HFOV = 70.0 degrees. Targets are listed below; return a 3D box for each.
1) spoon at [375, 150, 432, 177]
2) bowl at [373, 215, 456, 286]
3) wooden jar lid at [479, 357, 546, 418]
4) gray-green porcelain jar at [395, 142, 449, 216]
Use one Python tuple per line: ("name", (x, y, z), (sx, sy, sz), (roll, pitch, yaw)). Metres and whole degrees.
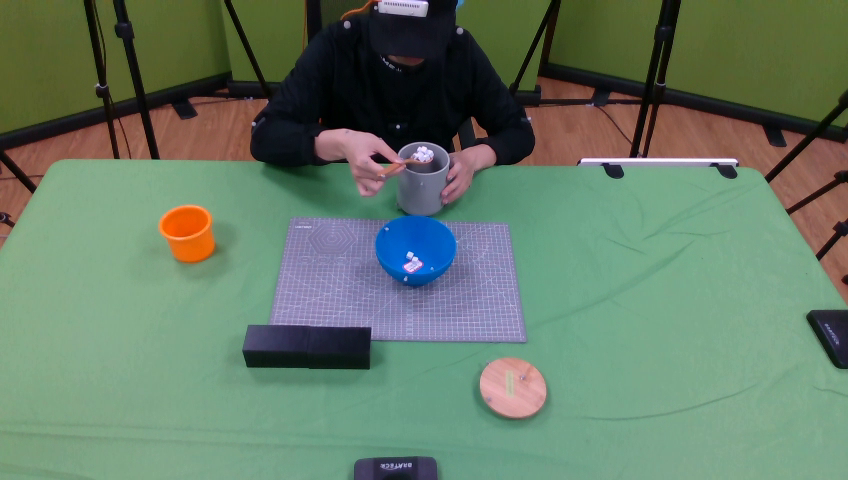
("spoon", (-0.039, -0.144, 1.130), (0.041, 0.022, 0.194), (26, 26, 20))
("bowl", (-0.019, 0.032, 1.122), (0.151, 0.077, 0.150), (2, 46, -2))
("wooden jar lid", (0.142, 0.240, 0.979), (0.108, 0.021, 0.107), (1, 46, -1))
("gray-green porcelain jar", (-0.007, -0.120, 1.241), (0.106, 0.127, 0.105), (2, 46, -2))
